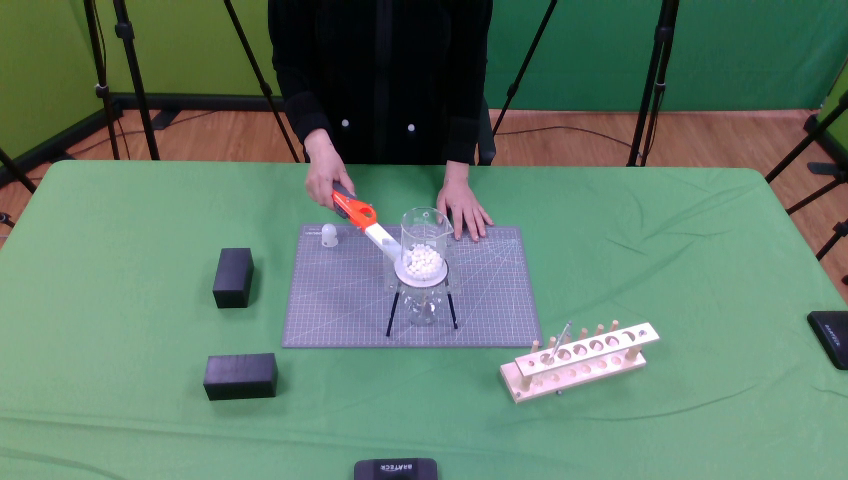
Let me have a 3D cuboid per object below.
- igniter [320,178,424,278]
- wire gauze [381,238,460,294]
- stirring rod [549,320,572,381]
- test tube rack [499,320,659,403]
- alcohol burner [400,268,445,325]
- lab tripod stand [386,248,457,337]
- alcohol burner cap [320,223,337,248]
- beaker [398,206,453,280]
[{"bbox_3d":[-0.101,-0.028,1.075,0.057,0.025,0.275,-28,57,-33],"label":"igniter"},{"bbox_3d":[-0.007,0.042,0.985,0.125,0.011,0.120,-1,43,-2],"label":"wire gauze"},{"bbox_3d":[0.202,0.167,0.901,0.006,0.177,0.014,-17,54,-11],"label":"stirring rod"},{"bbox_3d":[0.252,0.187,0.994,0.243,0.085,0.066,-12,48,-15],"label":"test tube rack"},{"bbox_3d":[-0.003,0.092,1.042,0.078,0.120,0.077,1,46,-1],"label":"alcohol burner"},{"bbox_3d":[-0.010,0.087,1.032,0.148,0.132,0.147,1,45,-1],"label":"lab tripod stand"},{"bbox_3d":[-0.187,-0.011,1.176,0.034,0.048,0.033,2,46,-1],"label":"alcohol burner cap"},{"bbox_3d":[0.000,0.008,0.950,0.084,0.101,0.073,10,45,6],"label":"beaker"}]
